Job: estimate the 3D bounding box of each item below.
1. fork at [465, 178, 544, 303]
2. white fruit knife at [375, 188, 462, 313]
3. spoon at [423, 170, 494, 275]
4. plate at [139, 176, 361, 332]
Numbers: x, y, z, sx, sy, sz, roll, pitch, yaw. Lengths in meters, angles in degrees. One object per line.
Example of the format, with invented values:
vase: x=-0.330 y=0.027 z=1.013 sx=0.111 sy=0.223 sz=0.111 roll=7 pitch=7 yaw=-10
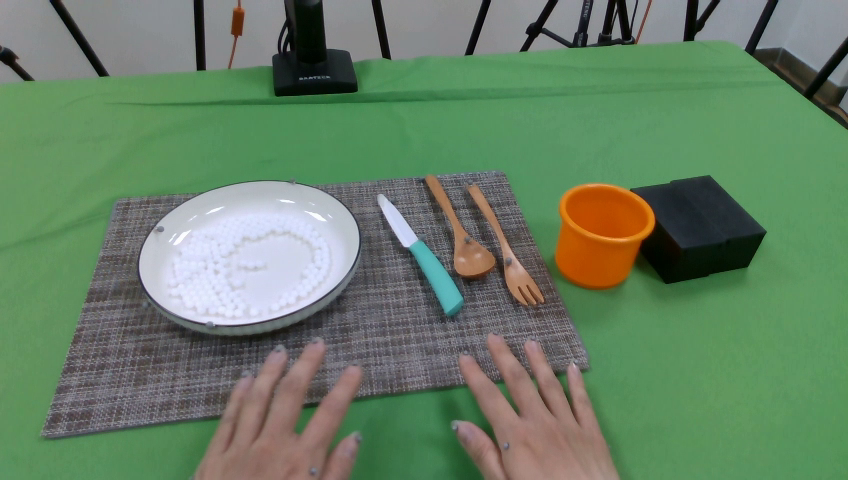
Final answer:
fork: x=0.079 y=-0.006 z=0.646 sx=0.028 sy=0.019 sz=0.205 roll=-14 pitch=46 yaw=-6
white fruit knife: x=-0.011 y=0.002 z=0.633 sx=0.027 sy=0.016 sz=0.205 roll=-5 pitch=41 yaw=-28
spoon: x=0.031 y=-0.026 z=0.661 sx=0.041 sy=0.022 sz=0.191 roll=-21 pitch=46 yaw=-2
plate: x=-0.165 y=0.012 z=0.598 sx=0.209 sy=0.038 sz=0.207 roll=2 pitch=42 yaw=-1
